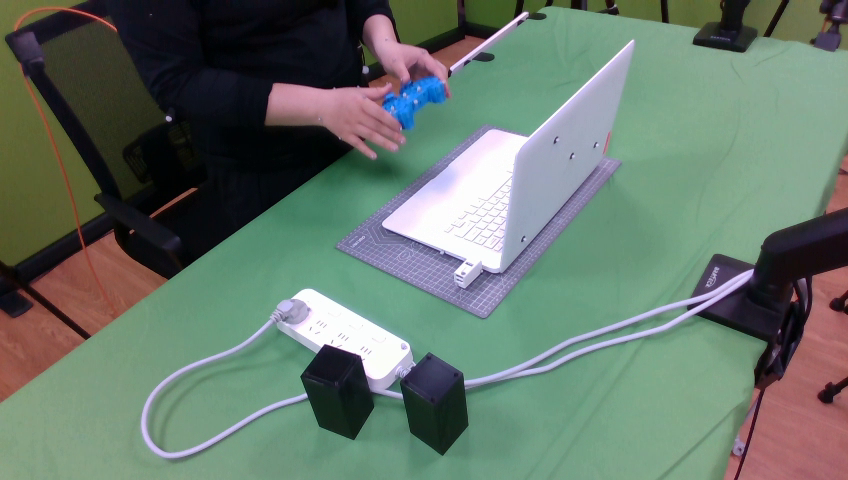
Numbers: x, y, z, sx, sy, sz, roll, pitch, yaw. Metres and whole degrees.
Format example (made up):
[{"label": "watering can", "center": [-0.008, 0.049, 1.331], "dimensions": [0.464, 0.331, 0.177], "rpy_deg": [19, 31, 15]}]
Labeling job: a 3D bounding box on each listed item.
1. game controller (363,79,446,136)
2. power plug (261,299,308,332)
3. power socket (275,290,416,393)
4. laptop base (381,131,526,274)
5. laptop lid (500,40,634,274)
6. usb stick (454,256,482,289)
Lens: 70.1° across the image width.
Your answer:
[{"label": "game controller", "center": [-0.032, -0.234, 1.042], "dimensions": [0.096, 0.052, 0.155], "rpy_deg": [13, 45, 38]}, {"label": "power plug", "center": [-0.193, 0.109, 0.830], "dimensions": [0.073, 0.053, 0.035], "rpy_deg": [-35, 47, -23]}, {"label": "power socket", "center": [-0.114, 0.133, 0.821], "dimensions": [0.225, 0.033, 0.072], "rpy_deg": [24, 48, 32]}, {"label": "laptop base", "center": [0.123, -0.081, 1.049], "dimensions": [0.233, 0.023, 0.355], "rpy_deg": [20, 47, 33]}, {"label": "laptop lid", "center": [0.218, -0.128, 0.906], "dimensions": [0.013, 0.242, 0.358], "rpy_deg": [28, 50, 25]}, {"label": "usb stick", "center": [0.069, 0.044, 0.891], "dimensions": [0.021, 0.027, 0.059], "rpy_deg": [23, 44, 32]}]
